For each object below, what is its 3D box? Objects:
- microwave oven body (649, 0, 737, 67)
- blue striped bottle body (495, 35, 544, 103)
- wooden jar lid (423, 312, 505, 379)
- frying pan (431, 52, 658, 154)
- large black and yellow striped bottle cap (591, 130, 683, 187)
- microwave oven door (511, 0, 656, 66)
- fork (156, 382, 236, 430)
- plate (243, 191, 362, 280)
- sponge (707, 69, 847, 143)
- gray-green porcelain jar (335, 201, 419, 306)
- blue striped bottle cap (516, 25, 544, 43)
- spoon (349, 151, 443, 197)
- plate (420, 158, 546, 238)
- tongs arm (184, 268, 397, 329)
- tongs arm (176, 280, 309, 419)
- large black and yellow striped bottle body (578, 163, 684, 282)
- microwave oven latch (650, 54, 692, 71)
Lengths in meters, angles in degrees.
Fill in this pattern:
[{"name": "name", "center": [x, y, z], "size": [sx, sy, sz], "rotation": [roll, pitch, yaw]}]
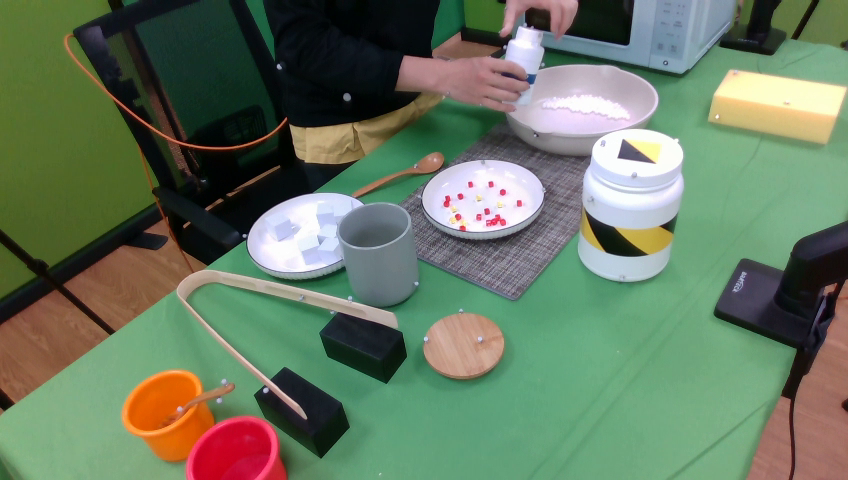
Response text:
[{"name": "microwave oven body", "center": [0.475, -0.602, 1.411], "size": [0.438, 0.261, 0.327], "rotation": [23, 50, 32]}, {"name": "blue striped bottle body", "center": [0.167, -0.302, 1.038], "size": [0.063, 0.121, 0.063], "rotation": [11, 26, -5]}, {"name": "wooden jar lid", "center": [0.053, 0.142, 0.800], "size": [0.108, 0.021, 0.108], "rotation": [-5, 39, 4]}, {"name": "frying pan", "center": [0.216, -0.302, 1.224], "size": [0.484, 0.103, 0.308], "rotation": [29, 50, 24]}, {"name": "large black and yellow striped bottle cap", "center": [0.282, -0.111, 0.803], "size": [0.115, 0.019, 0.114], "rotation": [-3, 41, 3]}, {"name": "microwave oven door", "center": [0.351, -0.540, 1.349], "size": [0.353, 0.245, 0.039], "rotation": [24, 50, 31]}, {"name": "fork", "center": [-0.262, 0.189, 0.690], "size": [0.018, 0.206, 0.028], "rotation": [49, 43, -7]}, {"name": "plate", "center": [-0.187, -0.005, 0.992], "size": [0.207, 0.039, 0.206], "rotation": [-4, 40, 4]}, {"name": "sponge", "center": [0.663, -0.256, 1.142], "size": [0.205, 0.061, 0.118], "rotation": [18, 47, 28]}, {"name": "gray-green porcelain jar", "center": [-0.064, 0.024, 0.872], "size": [0.106, 0.127, 0.105], "rotation": [-4, 41, 4]}, {"name": "blue striped bottle cap", "center": [0.178, -0.347, 1.016], "size": [0.045, 0.020, 0.044], "rotation": [9, 28, -4]}, {"name": "spoon", "center": [-0.051, -0.122, 1.120], "size": [0.194, 0.022, 0.041], "rotation": [-22, 62, -18]}, {"name": "plate", "center": [0.099, -0.067, 1.017], "size": [0.209, 0.038, 0.208], "rotation": [-4, 40, 4]}, {"name": "tongs arm", "center": [-0.202, 0.084, 0.848], "size": [0.382, 0.027, 0.051], "rotation": [11, 45, 35]}, {"name": "tongs arm", "center": [-0.254, 0.133, 0.801], "size": [0.028, 0.028, 0.384], "rotation": [-41, 41, -23]}, {"name": "large black and yellow striped bottle body", "center": [0.291, -0.046, 0.858], "size": [0.131, 0.185, 0.130], "rotation": [-4, 41, 4]}, {"name": "microwave oven latch", "center": [0.530, -0.386, 1.301], "size": [0.078, 0.029, 0.030], "rotation": [24, 50, 32]}]
